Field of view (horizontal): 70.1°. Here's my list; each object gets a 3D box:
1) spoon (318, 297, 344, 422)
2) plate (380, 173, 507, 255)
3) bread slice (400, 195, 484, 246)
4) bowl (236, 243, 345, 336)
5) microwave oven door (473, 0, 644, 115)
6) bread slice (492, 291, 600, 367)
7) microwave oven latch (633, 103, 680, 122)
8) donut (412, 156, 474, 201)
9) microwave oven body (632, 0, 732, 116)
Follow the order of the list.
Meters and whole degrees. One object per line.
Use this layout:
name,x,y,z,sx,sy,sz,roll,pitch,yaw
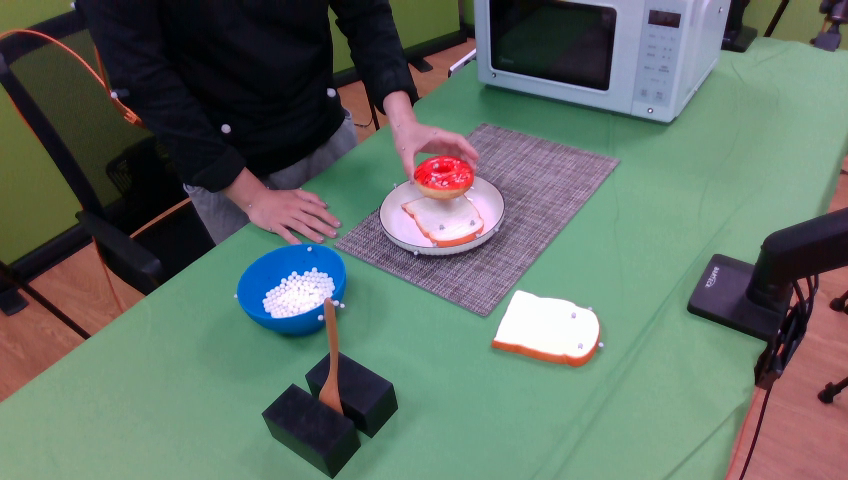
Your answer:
spoon,-0.107,0.139,0.687,0.041,0.194,0.022,26,37,31
plate,0.033,-0.042,0.995,0.207,0.039,0.206,-4,40,4
bread slice,0.037,-0.039,0.990,0.107,0.018,0.133,-23,43,-17
bowl,-0.180,0.082,0.855,0.151,0.077,0.150,-4,41,4
microwave oven door,0.257,-0.396,1.199,0.353,0.245,0.039,21,48,29
bread slice,0.169,0.118,0.811,0.131,0.019,0.105,11,44,22
microwave oven latch,0.444,-0.249,1.157,0.078,0.029,0.030,20,48,30
donut,0.031,-0.097,0.954,0.099,0.048,0.098,-2,37,2
microwave oven body,0.377,-0.462,1.267,0.438,0.261,0.327,21,48,30
